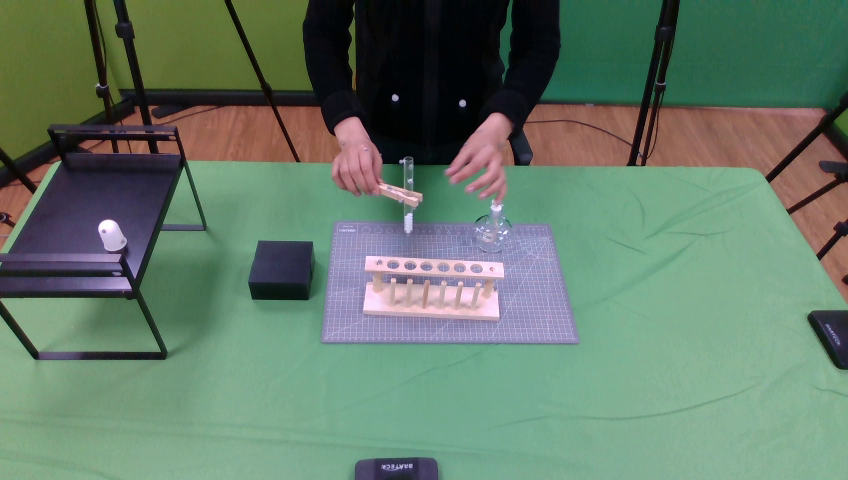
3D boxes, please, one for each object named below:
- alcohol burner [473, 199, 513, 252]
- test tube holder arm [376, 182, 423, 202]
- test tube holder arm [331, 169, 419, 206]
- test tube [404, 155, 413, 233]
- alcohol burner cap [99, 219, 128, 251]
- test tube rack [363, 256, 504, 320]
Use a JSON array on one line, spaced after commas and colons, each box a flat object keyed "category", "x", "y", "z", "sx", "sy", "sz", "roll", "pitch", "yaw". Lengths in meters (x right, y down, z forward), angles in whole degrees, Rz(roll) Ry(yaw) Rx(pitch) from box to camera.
[{"category": "alcohol burner", "x": 0.135, "y": -0.034, "z": 1.174, "sx": 0.078, "sy": 0.120, "sz": 0.077, "roll": 1, "pitch": 47, "yaw": -1}, {"category": "test tube holder arm", "x": -0.044, "y": -0.082, "z": 1.024, "sx": 0.087, "sy": 0.015, "sz": 0.010, "roll": 15, "pitch": 36, "yaw": 17}, {"category": "test tube holder arm", "x": -0.087, "y": -0.092, "z": 1.035, "sx": 0.178, "sy": 0.015, "sz": 0.013, "roll": 19, "pitch": 37, "yaw": 22}, {"category": "test tube", "x": -0.025, "y": -0.073, "z": 1.013, "sx": 0.017, "sy": 0.151, "sz": 0.017, "roll": 1, "pitch": 38, "yaw": 0}, {"category": "alcohol burner cap", "x": -0.467, "y": -0.010, "z": 0.907, "sx": 0.034, "sy": 0.048, "sz": 0.033, "roll": 1, "pitch": 47, "yaw": -1}, {"category": "test tube rack", "x": 0.015, "y": 0.085, "z": 1.069, "sx": 0.242, "sy": 0.085, "sz": 0.066, "roll": 3, "pitch": 45, "yaw": -2}]
